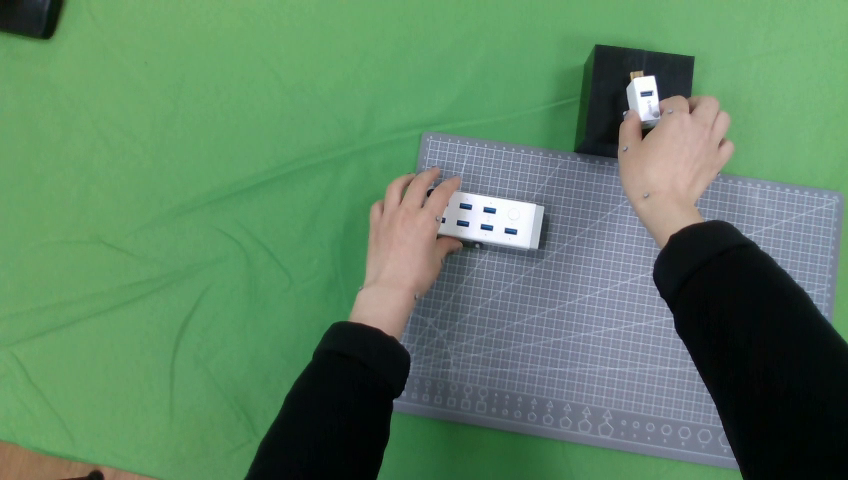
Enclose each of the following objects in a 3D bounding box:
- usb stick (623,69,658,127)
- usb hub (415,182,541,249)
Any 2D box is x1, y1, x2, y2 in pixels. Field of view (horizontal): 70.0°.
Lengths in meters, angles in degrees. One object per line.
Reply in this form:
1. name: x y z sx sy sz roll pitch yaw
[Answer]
1. usb stick: 0.210 -0.142 0.591 0.021 0.027 0.059 -7 77 1
2. usb hub: 0.056 -0.026 0.633 0.125 0.025 0.049 11 85 2
